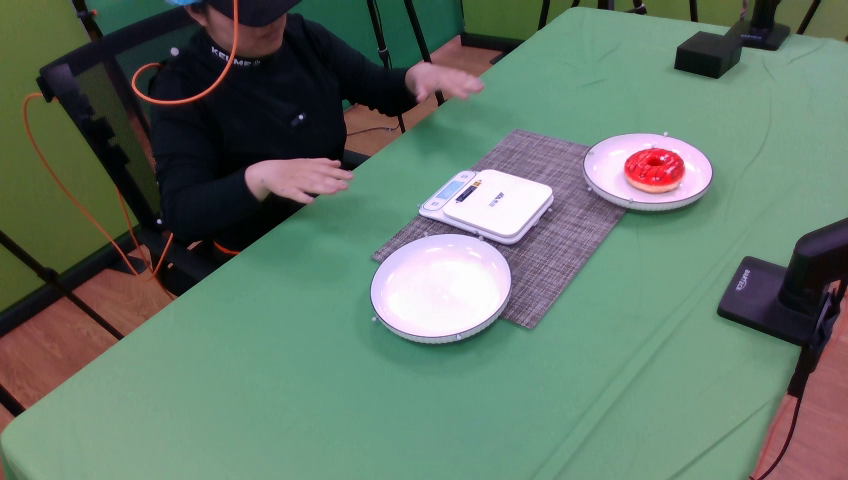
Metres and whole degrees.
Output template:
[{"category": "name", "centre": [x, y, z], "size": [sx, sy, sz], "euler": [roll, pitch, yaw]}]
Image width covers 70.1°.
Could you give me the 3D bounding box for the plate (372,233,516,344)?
[{"category": "plate", "centre": [0.030, 0.072, 0.879], "size": [0.207, 0.039, 0.206], "euler": [-6, 42, 6]}]

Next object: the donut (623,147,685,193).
[{"category": "donut", "centre": [0.388, -0.119, 1.019], "size": [0.099, 0.048, 0.098], "euler": [-4, 42, 4]}]

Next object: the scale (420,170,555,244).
[{"category": "scale", "centre": [0.106, -0.065, 1.029], "size": [0.199, 0.032, 0.149], "euler": [21, 48, 32]}]

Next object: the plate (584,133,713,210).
[{"category": "plate", "centre": [0.379, -0.113, 1.030], "size": [0.209, 0.038, 0.208], "euler": [-4, 41, 4]}]
